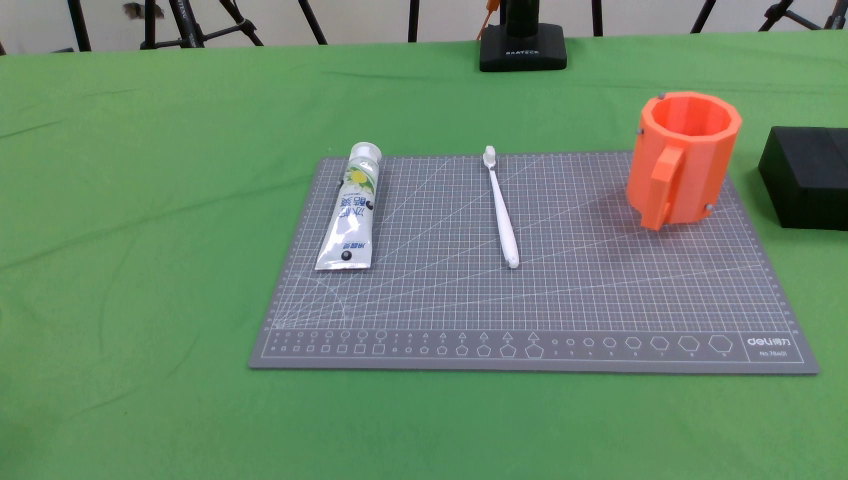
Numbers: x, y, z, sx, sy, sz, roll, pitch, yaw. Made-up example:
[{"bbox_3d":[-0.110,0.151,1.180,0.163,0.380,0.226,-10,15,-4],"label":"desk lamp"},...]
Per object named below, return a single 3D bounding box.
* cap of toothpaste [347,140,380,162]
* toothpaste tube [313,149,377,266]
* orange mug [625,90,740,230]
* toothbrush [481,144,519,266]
[{"bbox_3d":[-0.068,-0.096,0.676,0.037,0.038,0.011,-1,48,5],"label":"cap of toothpaste"},{"bbox_3d":[-0.075,-0.037,0.624,0.055,0.035,0.163,-5,47,10],"label":"toothpaste tube"},{"bbox_3d":[0.236,-0.071,0.574,0.083,0.102,0.126,20,45,26],"label":"orange mug"},{"bbox_3d":[0.077,-0.041,0.619,0.014,0.017,0.180,7,43,-11],"label":"toothbrush"}]
